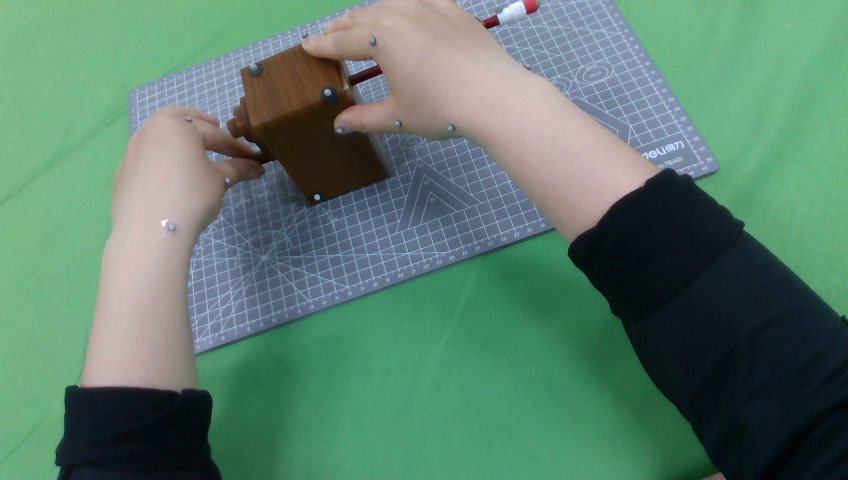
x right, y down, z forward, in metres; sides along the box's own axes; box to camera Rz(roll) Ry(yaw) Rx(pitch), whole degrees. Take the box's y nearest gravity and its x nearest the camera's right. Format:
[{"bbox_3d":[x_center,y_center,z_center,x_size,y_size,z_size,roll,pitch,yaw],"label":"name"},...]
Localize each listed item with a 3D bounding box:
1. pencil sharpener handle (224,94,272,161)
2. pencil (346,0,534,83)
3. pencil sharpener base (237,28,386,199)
[{"bbox_3d":[-0.134,-0.078,0.446,0.030,0.068,0.036,-23,74,3],"label":"pencil sharpener handle"},{"bbox_3d":[-0.014,-0.131,0.425,0.194,0.012,0.012,-22,61,4],"label":"pencil"},{"bbox_3d":[-0.082,-0.089,0.454,0.076,0.108,0.061,-23,60,3],"label":"pencil sharpener base"}]
